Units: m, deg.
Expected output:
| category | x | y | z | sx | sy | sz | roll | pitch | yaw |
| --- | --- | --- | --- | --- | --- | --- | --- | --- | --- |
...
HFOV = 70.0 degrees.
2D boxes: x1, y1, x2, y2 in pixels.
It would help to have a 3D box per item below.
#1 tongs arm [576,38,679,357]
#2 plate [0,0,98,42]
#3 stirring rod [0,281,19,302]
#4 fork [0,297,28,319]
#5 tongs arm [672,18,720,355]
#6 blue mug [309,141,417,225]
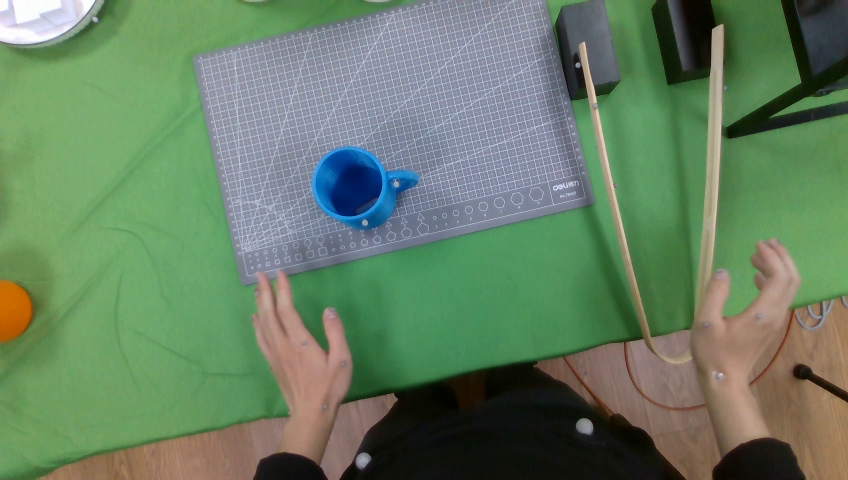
| category | x | y | z | sx | sy | sz | roll | pitch | yaw |
| --- | --- | --- | --- | --- | --- | --- | --- | --- | --- |
| tongs arm | 0.239 | -0.046 | 0.709 | 0.051 | 0.026 | 0.385 | -12 | 96 | 0 |
| plate | -0.497 | -0.350 | 0.768 | 0.207 | 0.039 | 0.207 | 0 | 88 | 2 |
| stirring rod | -0.547 | 0.106 | 0.699 | 0.014 | 0.006 | 0.175 | 34 | 46 | 0 |
| fork | -0.579 | 0.075 | 0.695 | 0.209 | 0.018 | 0.028 | 8 | 84 | -41 |
| tongs arm | 0.321 | -0.057 | 0.707 | 0.028 | 0.027 | 0.388 | 1 | 97 | -5 |
| blue mug | -0.065 | -0.066 | 0.703 | 0.116 | 0.106 | 0.082 | -12 | 86 | 1 |
